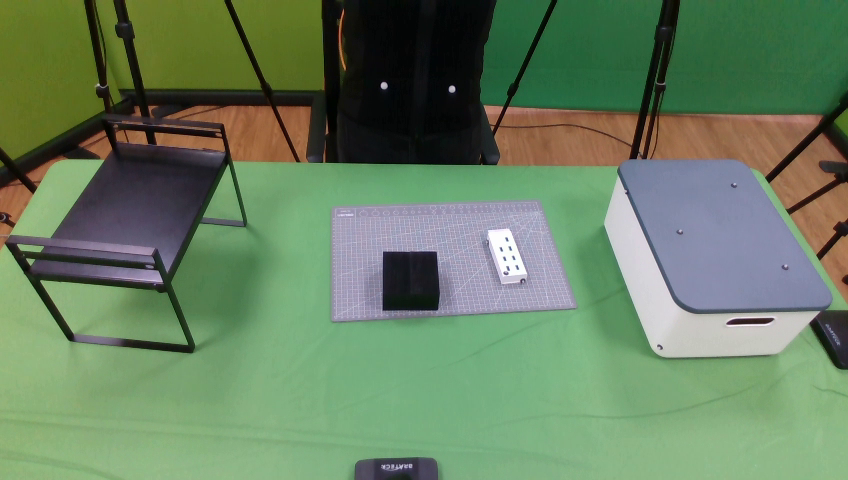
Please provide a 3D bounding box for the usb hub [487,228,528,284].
[{"bbox_3d":[0.159,0.029,1.173,0.049,0.025,0.124,-6,46,-9],"label":"usb hub"}]

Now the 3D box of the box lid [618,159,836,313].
[{"bbox_3d":[0.508,-0.024,1.056,0.263,0.015,0.369,-1,46,-5],"label":"box lid"}]

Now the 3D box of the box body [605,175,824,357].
[{"bbox_3d":[0.505,0.028,1.108,0.254,0.161,0.361,-1,46,-4],"label":"box body"}]
